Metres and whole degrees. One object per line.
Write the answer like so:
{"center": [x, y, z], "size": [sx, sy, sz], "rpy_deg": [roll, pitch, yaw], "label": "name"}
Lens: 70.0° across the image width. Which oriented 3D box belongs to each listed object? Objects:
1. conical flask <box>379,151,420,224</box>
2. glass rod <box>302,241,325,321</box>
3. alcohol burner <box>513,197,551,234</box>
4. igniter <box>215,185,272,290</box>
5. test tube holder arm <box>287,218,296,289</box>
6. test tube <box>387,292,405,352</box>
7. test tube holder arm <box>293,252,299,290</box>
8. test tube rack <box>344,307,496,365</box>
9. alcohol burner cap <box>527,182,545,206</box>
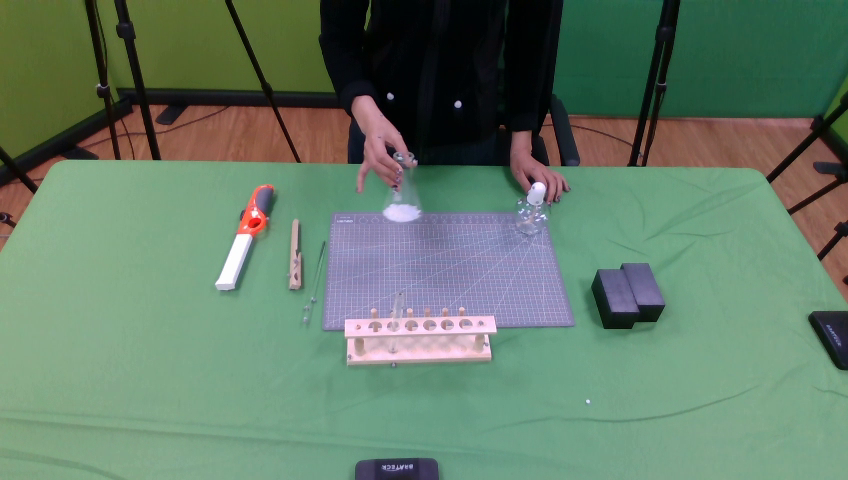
{"center": [-0.041, -0.096, 1.088], "size": [0.075, 0.122, 0.075], "rpy_deg": [3, 26, -1], "label": "conical flask"}
{"center": [-0.204, 0.071, 1.124], "size": [0.008, 0.008, 0.198], "rpy_deg": [4, 44, 0], "label": "glass rod"}
{"center": [0.220, -0.069, 1.217], "size": [0.078, 0.119, 0.077], "rpy_deg": [3, 47, -3], "label": "alcohol burner"}
{"center": [-0.347, -0.014, 1.182], "size": [0.057, 0.025, 0.275], "rpy_deg": [-1, 45, 8], "label": "igniter"}
{"center": [-0.253, 0.022, 1.158], "size": [0.013, 0.015, 0.177], "rpy_deg": [23, 36, -34], "label": "test tube holder arm"}
{"center": [-0.045, 0.133, 0.955], "size": [0.017, 0.151, 0.017], "rpy_deg": [5, 47, -5], "label": "test tube"}
{"center": [-0.241, 0.056, 1.131], "size": [0.010, 0.015, 0.087], "rpy_deg": [24, 35, -33], "label": "test tube holder arm"}
{"center": [-0.009, 0.154, 1.007], "size": [0.242, 0.085, 0.066], "rpy_deg": [-1, 46, -5], "label": "test tube rack"}
{"center": [0.222, -0.092, 1.189], "size": [0.034, 0.048, 0.033], "rpy_deg": [2, 54, -3], "label": "alcohol burner cap"}
